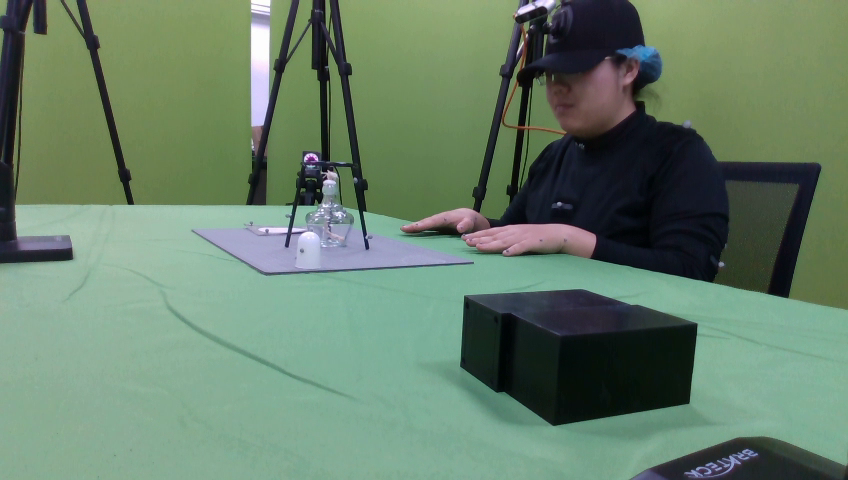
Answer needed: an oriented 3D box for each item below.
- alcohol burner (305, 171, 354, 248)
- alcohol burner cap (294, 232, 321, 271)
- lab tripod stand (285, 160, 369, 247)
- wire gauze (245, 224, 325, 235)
[{"bbox_3d":[-0.148,-0.048,0.949,0.078,0.119,0.078,1,6,0],"label":"alcohol burner"},{"bbox_3d":[-0.144,0.013,0.748,0.034,0.048,0.034,3,6,0],"label":"alcohol burner cap"},{"bbox_3d":[-0.151,-0.058,0.947,0.148,0.131,0.148,1,6,0],"label":"lab tripod stand"},{"bbox_3d":[-0.256,-0.020,1.108,0.122,0.011,0.124,-1,6,-28],"label":"wire gauze"}]
